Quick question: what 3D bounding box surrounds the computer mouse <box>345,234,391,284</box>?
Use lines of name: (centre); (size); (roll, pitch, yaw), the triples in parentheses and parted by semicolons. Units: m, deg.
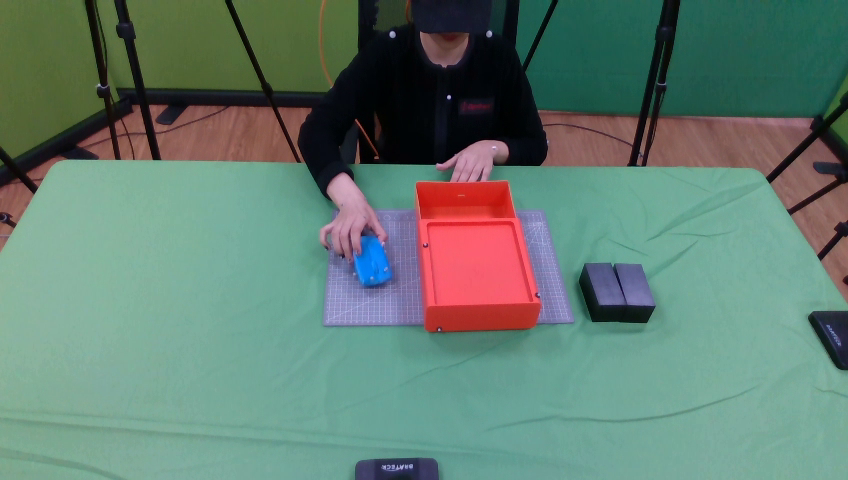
computer mouse: (-0.105, 0.032, 1.130); (0.063, 0.041, 0.116); (-8, 48, -23)

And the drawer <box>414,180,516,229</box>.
drawer: (0.084, -0.025, 1.186); (0.195, 0.073, 0.210); (-1, 47, -6)

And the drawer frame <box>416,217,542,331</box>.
drawer frame: (0.092, 0.056, 1.105); (0.202, 0.083, 0.212); (-1, 47, -6)
